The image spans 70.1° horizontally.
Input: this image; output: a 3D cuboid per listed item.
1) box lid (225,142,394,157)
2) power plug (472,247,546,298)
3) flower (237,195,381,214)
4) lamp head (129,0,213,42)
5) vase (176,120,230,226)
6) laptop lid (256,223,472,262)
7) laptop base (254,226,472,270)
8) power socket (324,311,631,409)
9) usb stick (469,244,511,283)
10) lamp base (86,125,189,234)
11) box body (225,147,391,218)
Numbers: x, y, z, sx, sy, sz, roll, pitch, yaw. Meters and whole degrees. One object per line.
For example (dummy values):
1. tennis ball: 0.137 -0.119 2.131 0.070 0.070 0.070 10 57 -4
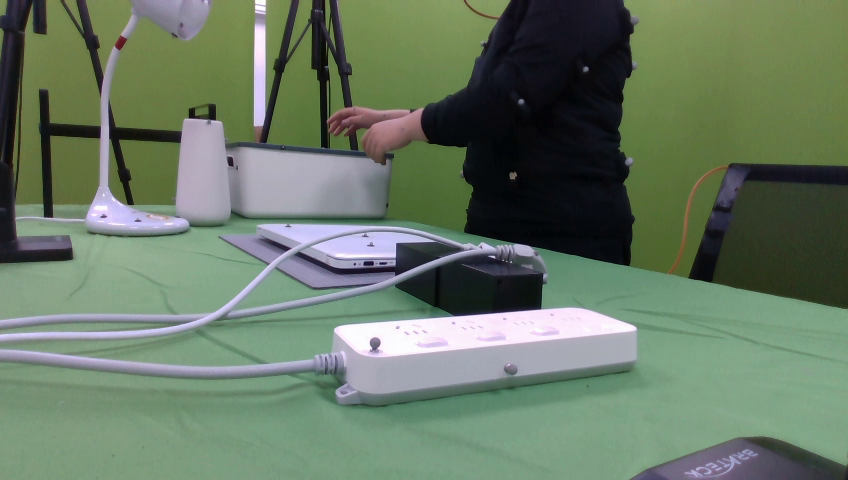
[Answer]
1. box lid: -0.286 -0.217 1.464 0.373 0.015 0.262 -1 7 -28
2. power plug: 0.081 0.030 0.584 0.072 0.052 0.035 11 27 9
3. flower: -0.284 -0.080 1.482 0.361 0.038 0.044 5 35 7
4. lamp head: -0.423 -0.394 0.980 0.123 0.112 0.112 20 7 -3
5. vase: -0.425 -0.128 1.159 0.098 0.200 0.098 2 9 0
6. laptop lid: -0.092 0.000 0.912 0.243 0.013 0.355 2 7 -30
7. laptop base: -0.095 0.011 0.912 0.237 0.023 0.352 3 6 -32
8. power socket: 0.042 0.075 0.410 0.228 0.032 0.072 -1 8 -25
9. usb stick: 0.080 0.029 0.674 0.059 0.021 0.027 28 26 -29
10. lamp base: -0.497 -0.105 1.027 0.179 0.180 0.160 1 7 3
11. box body: -0.289 -0.143 1.475 0.366 0.160 0.253 -1 9 -29
